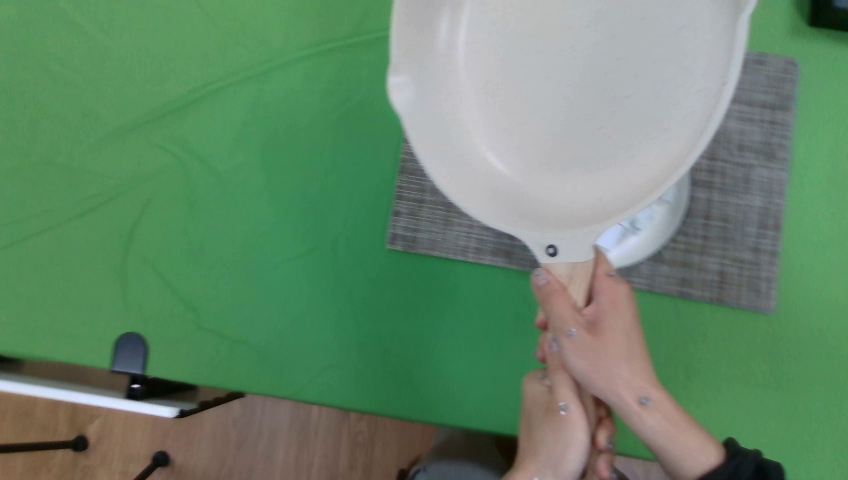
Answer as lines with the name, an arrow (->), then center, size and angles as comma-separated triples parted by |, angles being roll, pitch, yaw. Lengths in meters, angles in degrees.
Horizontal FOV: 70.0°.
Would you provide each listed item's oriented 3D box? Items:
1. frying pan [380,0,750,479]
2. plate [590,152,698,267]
frying pan -> 0.102, -0.049, 0.475 | 0.305, 0.103, 0.488 | -3, 93, 42
plate -> 0.201, -0.072, 0.692 | 0.207, 0.039, 0.207 | 0, 84, 2
